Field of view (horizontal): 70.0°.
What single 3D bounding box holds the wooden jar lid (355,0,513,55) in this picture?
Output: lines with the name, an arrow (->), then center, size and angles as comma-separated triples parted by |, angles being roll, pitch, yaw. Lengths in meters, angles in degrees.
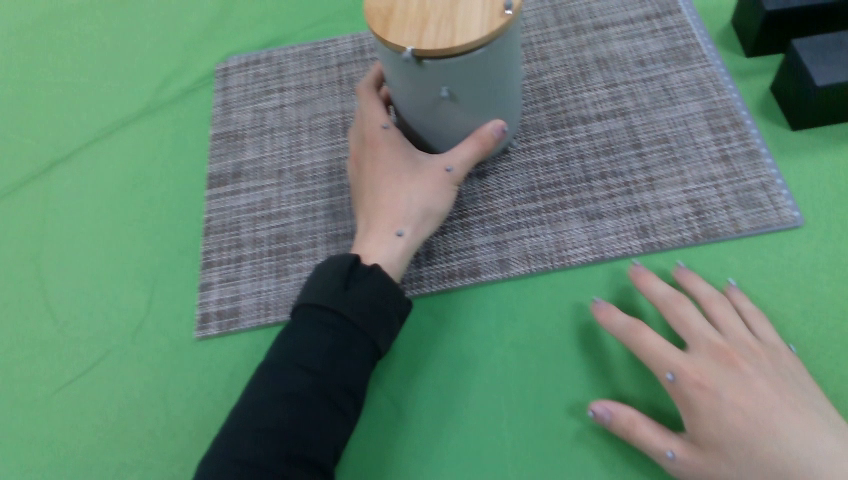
wooden jar lid -> 0.008, -0.161, 0.414 | 0.108, 0.021, 0.107 | -4, 59, 6

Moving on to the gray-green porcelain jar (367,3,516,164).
gray-green porcelain jar -> 0.018, -0.130, 0.469 | 0.106, 0.128, 0.105 | -4, 59, 7
